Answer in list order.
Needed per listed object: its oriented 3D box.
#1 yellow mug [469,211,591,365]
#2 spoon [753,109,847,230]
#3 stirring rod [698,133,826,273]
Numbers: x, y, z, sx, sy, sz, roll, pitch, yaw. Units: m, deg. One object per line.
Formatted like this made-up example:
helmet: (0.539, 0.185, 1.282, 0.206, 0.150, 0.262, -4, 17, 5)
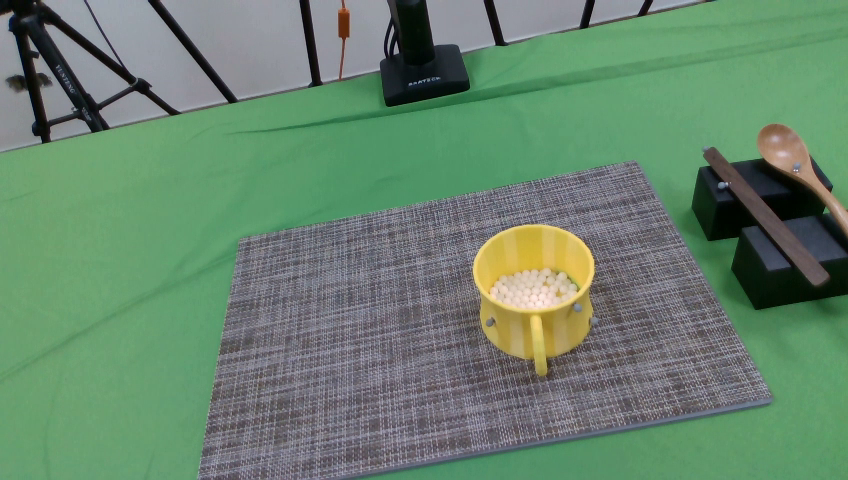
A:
yellow mug: (0.091, 0.043, 0.510, 0.100, 0.064, 0.129, -5, 47, 8)
spoon: (0.333, -0.045, 0.507, 0.041, 0.022, 0.191, -11, 48, 2)
stirring rod: (0.282, -0.038, 0.516, 0.014, 0.006, 0.174, -42, 39, 25)
